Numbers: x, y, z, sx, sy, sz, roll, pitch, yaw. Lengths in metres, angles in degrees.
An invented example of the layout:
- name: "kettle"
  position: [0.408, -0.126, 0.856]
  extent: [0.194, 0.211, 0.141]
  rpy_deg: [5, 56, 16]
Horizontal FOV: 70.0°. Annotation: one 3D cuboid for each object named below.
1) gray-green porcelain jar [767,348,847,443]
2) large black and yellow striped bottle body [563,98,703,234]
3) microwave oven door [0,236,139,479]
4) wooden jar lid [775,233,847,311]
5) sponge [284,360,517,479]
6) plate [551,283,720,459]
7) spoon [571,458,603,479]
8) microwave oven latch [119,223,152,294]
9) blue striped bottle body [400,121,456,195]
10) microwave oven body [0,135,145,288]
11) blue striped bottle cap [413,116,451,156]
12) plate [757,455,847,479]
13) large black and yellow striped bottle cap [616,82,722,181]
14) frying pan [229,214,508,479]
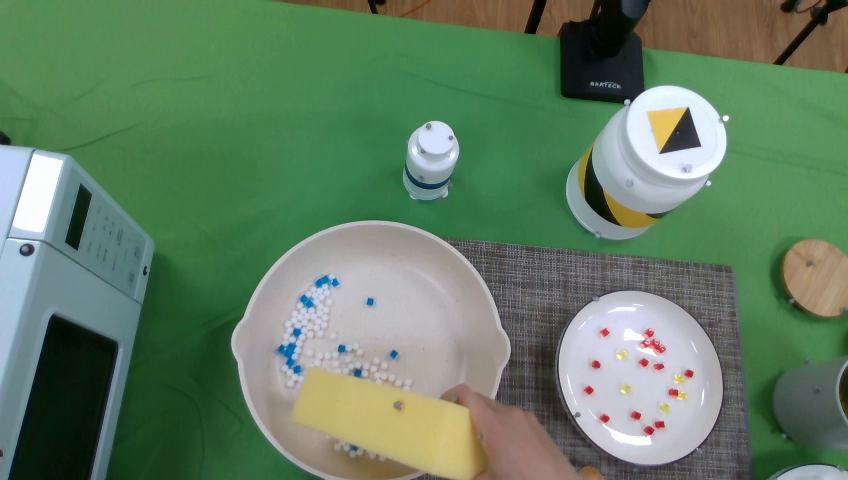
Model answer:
- name: "gray-green porcelain jar"
  position: [0.486, 0.186, 0.719]
  extent: [0.106, 0.127, 0.105]
  rpy_deg: [2, 73, -6]
- name: "large black and yellow striped bottle body"
  position: [0.260, -0.094, 0.746]
  extent: [0.131, 0.184, 0.130]
  rpy_deg: [2, 72, -6]
- name: "microwave oven door"
  position: [-0.342, 0.198, 0.533]
  extent: [0.039, 0.245, 0.353]
  rpy_deg: [6, 72, -5]
- name: "wooden jar lid"
  position: [0.527, 0.044, 0.823]
  extent: [0.108, 0.021, 0.108]
  rpy_deg: [2, 74, -6]
- name: "sponge"
  position: [-0.028, 0.180, 0.605]
  extent: [0.119, 0.205, 0.060]
  rpy_deg: [33, 68, -43]
- name: "plate"
  position: [0.254, 0.157, 0.741]
  extent: [0.209, 0.038, 0.208]
  rpy_deg: [2, 73, -6]
- name: "spoon"
  position: [0.239, 0.329, 0.697]
  extent: [0.193, 0.022, 0.041]
  rpy_deg: [45, 56, 6]
- name: "microwave oven latch"
  position: [-0.335, 0.020, 0.695]
  extent: [0.030, 0.029, 0.078]
  rpy_deg: [8, 73, -5]
- name: "blue striped bottle body"
  position: [0.005, -0.106, 0.751]
  extent: [0.063, 0.121, 0.062]
  rpy_deg: [2, 73, -6]
- name: "microwave oven body"
  position: [-0.484, 0.144, 0.537]
  extent: [0.326, 0.261, 0.439]
  rpy_deg: [6, 73, -5]
- name: "blue striped bottle cap"
  position: [0.010, -0.121, 0.702]
  extent: [0.044, 0.021, 0.044]
  rpy_deg: [2, 70, -5]
- name: "plate"
  position: [0.463, 0.360, 0.710]
  extent: [0.208, 0.039, 0.206]
  rpy_deg: [2, 73, -6]
- name: "large black and yellow striped bottle cap"
  position: [0.269, -0.120, 0.665]
  extent: [0.115, 0.019, 0.114]
  rpy_deg: [2, 71, -6]
- name: "frying pan"
  position: [-0.064, 0.210, 0.653]
  extent: [0.307, 0.103, 0.484]
  rpy_deg: [4, 65, -3]
